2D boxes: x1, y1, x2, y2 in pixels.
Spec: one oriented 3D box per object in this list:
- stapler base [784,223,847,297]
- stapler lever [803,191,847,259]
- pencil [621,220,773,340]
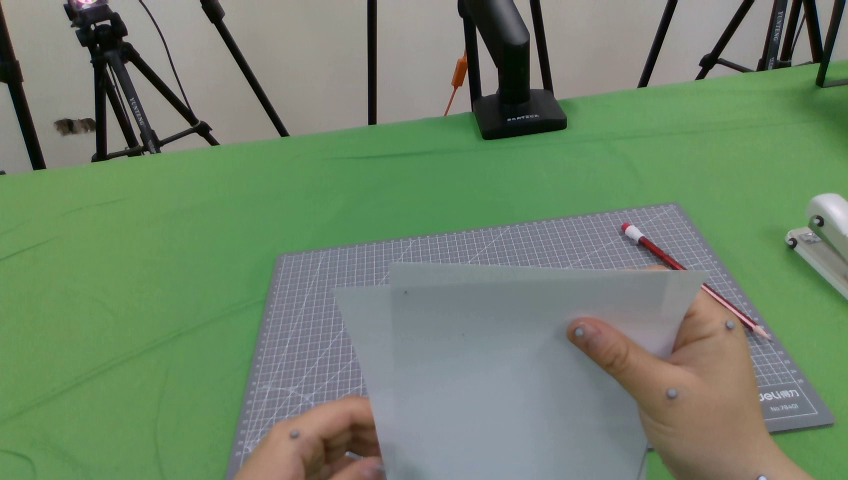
[{"bbox_3d":[0.386,0.018,0.554,0.041,0.025,0.129,-12,38,-2],"label":"stapler base"},{"bbox_3d":[0.383,-0.001,0.537,0.027,0.040,0.117,-12,39,-2],"label":"stapler lever"},{"bbox_3d":[0.248,0.032,0.567,0.012,0.012,0.192,-19,39,-14],"label":"pencil"}]
